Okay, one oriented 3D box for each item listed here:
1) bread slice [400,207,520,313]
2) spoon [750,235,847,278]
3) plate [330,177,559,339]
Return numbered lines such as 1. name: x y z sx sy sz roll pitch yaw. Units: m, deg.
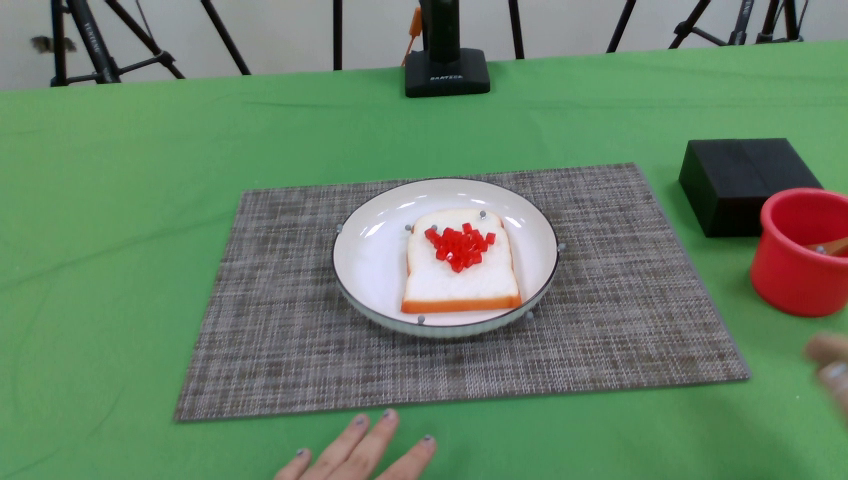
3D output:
1. bread slice: 0.030 0.015 0.569 0.105 0.019 0.130 -2 42 1
2. spoon: 0.363 -0.004 0.486 0.193 0.022 0.041 -29 18 47
3. plate: 0.018 0.015 0.567 0.209 0.038 0.207 -2 41 2
